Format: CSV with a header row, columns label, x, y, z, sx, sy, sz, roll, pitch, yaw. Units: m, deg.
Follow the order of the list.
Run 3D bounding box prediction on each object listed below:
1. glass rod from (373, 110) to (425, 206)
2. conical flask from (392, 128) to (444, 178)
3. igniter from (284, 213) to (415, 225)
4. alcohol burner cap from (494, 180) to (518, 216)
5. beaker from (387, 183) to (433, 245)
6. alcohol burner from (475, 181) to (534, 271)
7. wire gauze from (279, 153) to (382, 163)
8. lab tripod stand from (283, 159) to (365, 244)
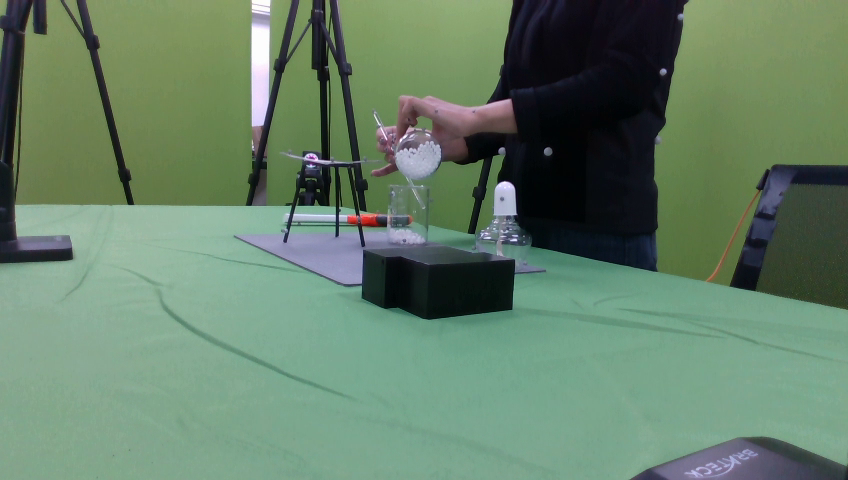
label,x,y,z,sx,sy,sz,roll,pitch,yaw
glass rod,-0.043,-0.140,1.016,0.008,0.199,0.008,-25,-17,-8
conical flask,-0.020,-0.145,0.955,0.075,0.075,0.121,0,16,-16
igniter,-0.154,-0.045,1.282,0.278,0.025,0.057,0,-3,-20
alcohol burner cap,0.108,-0.055,0.800,0.034,0.048,0.034,-2,4,0
beaker,-0.027,-0.044,1.012,0.074,0.100,0.083,-2,8,-35
alcohol burner,0.108,-0.020,0.804,0.078,0.119,0.078,3,5,0
wire gauze,-0.149,-0.129,0.974,0.124,0.011,0.122,10,9,40
lab tripod stand,-0.151,-0.063,0.983,0.148,0.131,0.148,4,7,0
